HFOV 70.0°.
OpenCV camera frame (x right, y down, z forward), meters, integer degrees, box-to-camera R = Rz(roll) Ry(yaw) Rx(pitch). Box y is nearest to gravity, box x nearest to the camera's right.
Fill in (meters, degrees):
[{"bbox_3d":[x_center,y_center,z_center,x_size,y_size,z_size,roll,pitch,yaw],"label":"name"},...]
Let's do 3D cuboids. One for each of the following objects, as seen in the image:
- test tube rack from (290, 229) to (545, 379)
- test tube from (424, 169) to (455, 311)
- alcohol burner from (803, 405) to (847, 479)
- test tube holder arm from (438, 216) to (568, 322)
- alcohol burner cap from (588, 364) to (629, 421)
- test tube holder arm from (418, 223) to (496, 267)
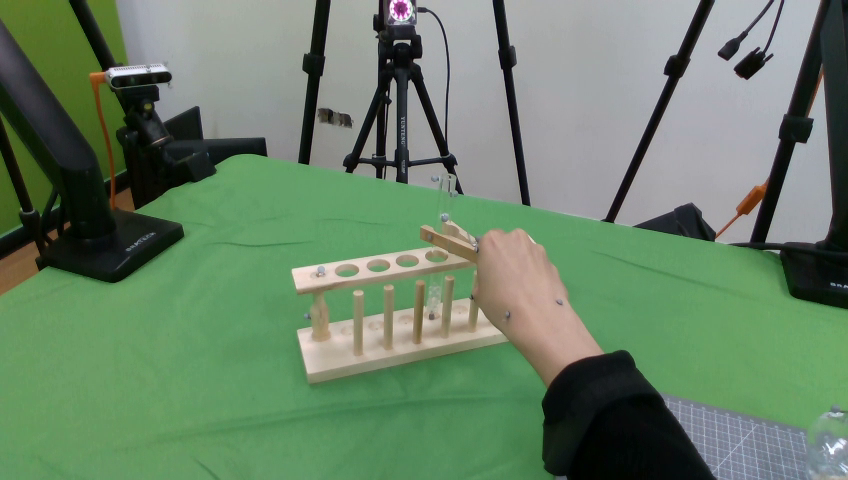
[{"bbox_3d":[0.000,0.058,0.588,0.243,0.086,0.066,-9,33,-17],"label":"test tube rack"},{"bbox_3d":[0.014,0.004,0.582,0.017,0.151,0.017,5,27,-2],"label":"test tube"},{"bbox_3d":[0.327,0.142,0.441,0.078,0.120,0.077,2,34,-1],"label":"alcohol burner"},{"bbox_3d":[0.062,0.019,0.527,0.013,0.015,0.176,-18,35,-28],"label":"test tube holder arm"},{"bbox_3d":[0.161,0.128,0.521,0.034,0.048,0.033,2,34,-1],"label":"alcohol burner cap"},{"bbox_3d":[0.031,0.004,0.553,0.087,0.015,0.010,22,36,32],"label":"test tube holder arm"}]
